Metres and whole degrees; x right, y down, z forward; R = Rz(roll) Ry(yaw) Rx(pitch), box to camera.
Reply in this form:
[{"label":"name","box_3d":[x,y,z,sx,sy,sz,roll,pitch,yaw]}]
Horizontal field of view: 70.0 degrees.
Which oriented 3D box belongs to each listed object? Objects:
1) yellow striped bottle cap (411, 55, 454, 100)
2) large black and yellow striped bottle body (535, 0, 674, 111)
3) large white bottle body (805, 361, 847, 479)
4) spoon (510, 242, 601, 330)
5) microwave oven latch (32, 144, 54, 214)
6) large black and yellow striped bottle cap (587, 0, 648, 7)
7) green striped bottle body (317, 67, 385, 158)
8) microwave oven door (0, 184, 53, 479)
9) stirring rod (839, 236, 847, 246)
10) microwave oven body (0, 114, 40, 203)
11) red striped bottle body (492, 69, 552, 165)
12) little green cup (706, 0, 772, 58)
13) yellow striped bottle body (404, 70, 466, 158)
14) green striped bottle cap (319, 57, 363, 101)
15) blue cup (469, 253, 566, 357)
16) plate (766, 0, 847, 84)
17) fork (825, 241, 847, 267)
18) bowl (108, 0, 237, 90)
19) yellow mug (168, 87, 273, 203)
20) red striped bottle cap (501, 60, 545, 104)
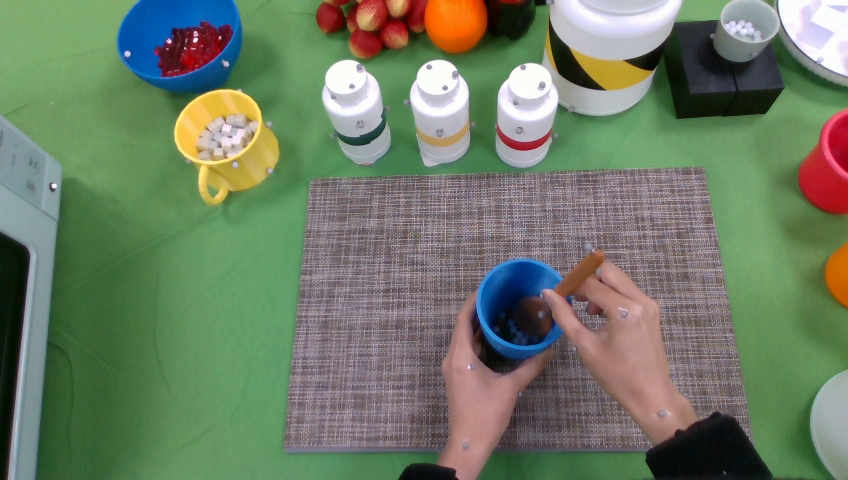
[{"label":"yellow striped bottle cap","box_3d":[0.008,-0.166,0.620,0.044,0.019,0.044,-1,69,3]},{"label":"large black and yellow striped bottle body","box_3d":[0.194,-0.243,0.658,0.131,0.185,0.130,-2,67,4]},{"label":"large white bottle body","box_3d":[0.413,0.141,0.483,0.130,0.186,0.129,-2,67,4]},{"label":"spoon","box_3d":[0.112,0.045,0.528,0.021,0.194,0.041,-38,78,-18]},{"label":"microwave oven latch","box_3d":[-0.447,-0.069,0.697,0.030,0.030,0.078,-8,68,1]},{"label":"large black and yellow striped bottle cap","box_3d":[0.186,-0.274,0.580,0.115,0.019,0.114,-2,67,5]},{"label":"green striped bottle body","box_3d":[-0.081,-0.147,0.676,0.063,0.120,0.062,-2,67,4]},{"label":"microwave oven door","box_3d":[-0.422,0.092,0.520,0.039,0.245,0.353,-11,67,1]},{"label":"stirring rod","box_3d":[0.440,0.034,0.550,0.014,0.006,0.174,-8,25,1]},{"label":"microwave oven body","box_3d":[-0.572,0.081,0.542,0.326,0.262,0.438,-10,68,0]},{"label":"red striped bottle body","box_3d":[0.106,-0.138,0.658,0.063,0.120,0.062,-3,65,7]},{"label":"little green cup","box_3d":[0.344,-0.234,0.667,0.061,0.039,0.061,-1,66,3]},{"label":"yellow striped bottle body","box_3d":[0.013,-0.146,0.668,0.063,0.121,0.062,-2,67,5]},{"label":"green striped bottle cap","box_3d":[-0.086,-0.167,0.628,0.044,0.020,0.044,-1,67,3]},{"label":"blue cup","box_3d":[0.088,0.071,0.580,0.092,0.101,0.092,-3,66,6]},{"label":"plate","box_3d":[0.513,-0.267,0.722,0.209,0.038,0.207,-1,68,4]},{"label":"fork","box_3d":[0.468,0.034,0.542,0.028,0.019,0.205,-35,25,-15]},{"label":"bowl","box_3d":[-0.297,-0.241,0.754,0.151,0.077,0.150,-1,68,4]},{"label":"yellow mug","box_3d":[-0.237,-0.105,0.700,0.100,0.064,0.130,8,69,7]},{"label":"red striped bottle cap","box_3d":[0.100,-0.160,0.609,0.044,0.018,0.044,0,66,0]}]
